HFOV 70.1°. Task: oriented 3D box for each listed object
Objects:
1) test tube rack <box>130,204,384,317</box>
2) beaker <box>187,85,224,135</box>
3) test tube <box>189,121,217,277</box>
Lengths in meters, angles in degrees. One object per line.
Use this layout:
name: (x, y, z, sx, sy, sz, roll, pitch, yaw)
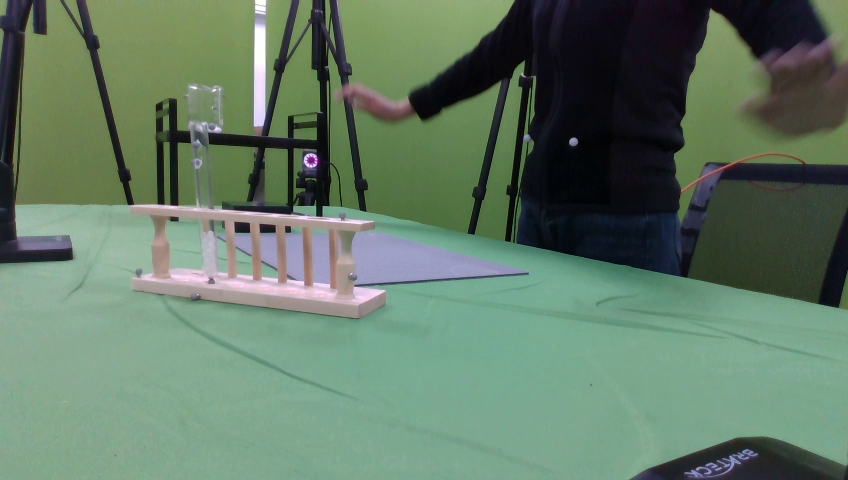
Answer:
test tube rack: (-0.163, 0.013, 0.589, 0.242, 0.085, 0.067, 5, 8, 17)
beaker: (-0.466, -0.276, 1.296, 0.074, 0.100, 0.083, -3, 10, -35)
test tube: (-0.210, -0.037, 0.576, 0.017, 0.150, 0.017, 1, 14, 0)
